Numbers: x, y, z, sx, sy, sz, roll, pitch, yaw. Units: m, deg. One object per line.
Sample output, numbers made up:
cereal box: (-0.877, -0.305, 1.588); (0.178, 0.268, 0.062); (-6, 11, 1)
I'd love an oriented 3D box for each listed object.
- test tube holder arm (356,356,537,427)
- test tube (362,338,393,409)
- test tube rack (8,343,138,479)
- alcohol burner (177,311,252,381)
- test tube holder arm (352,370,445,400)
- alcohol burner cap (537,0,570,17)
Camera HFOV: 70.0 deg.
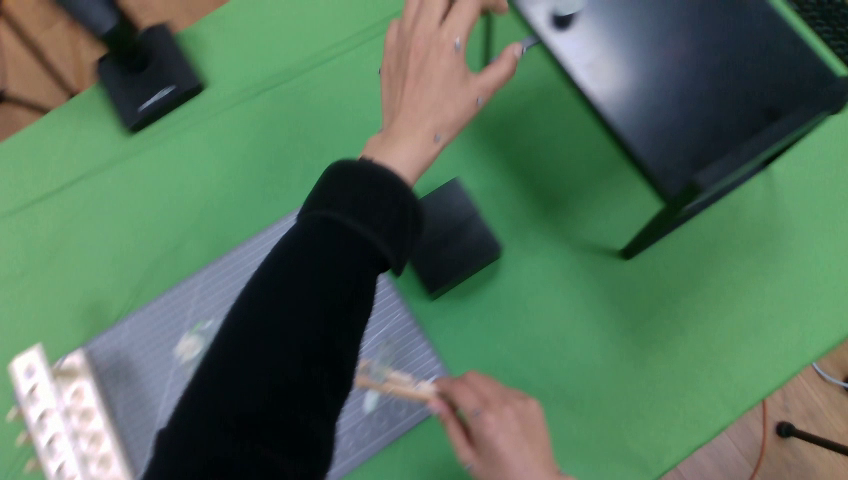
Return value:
test tube holder arm: (0.021, 0.144, 0.572); (0.178, 0.015, 0.013); (18, 61, -1)
test tube: (-0.046, 0.131, 0.574); (0.017, 0.151, 0.017); (6, 56, -8)
test tube rack: (-0.383, 0.236, 0.662); (0.067, 0.085, 0.241); (-30, 77, -3)
alcohol burner: (-0.236, 0.116, 0.665); (0.078, 0.119, 0.077); (-1, 78, 4)
test tube holder arm: (-0.023, 0.136, 0.568); (0.088, 0.015, 0.010); (12, 61, -4)
alcohol burner cap: (0.126, -0.241, 0.577); (0.034, 0.048, 0.033); (-1, 74, 4)
